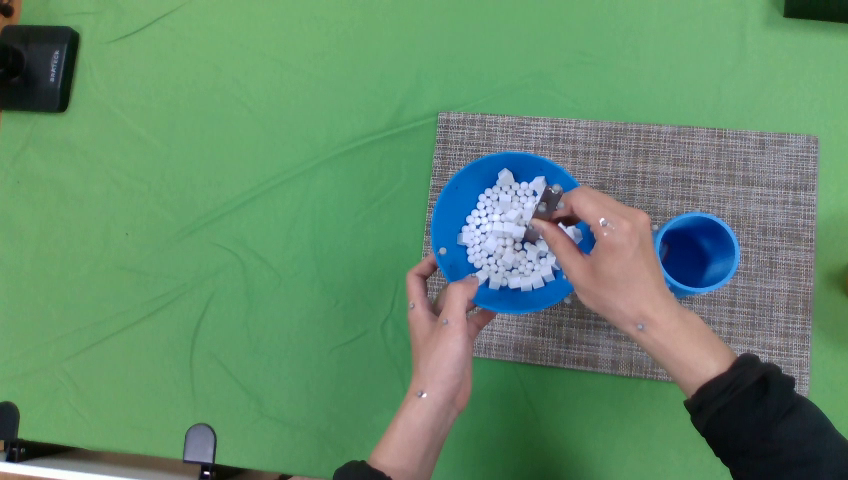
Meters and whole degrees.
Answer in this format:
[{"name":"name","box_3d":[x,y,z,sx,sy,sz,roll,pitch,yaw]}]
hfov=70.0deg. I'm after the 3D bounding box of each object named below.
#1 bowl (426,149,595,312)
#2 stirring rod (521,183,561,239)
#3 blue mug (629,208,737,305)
[{"name":"bowl","box_3d":[0.080,-0.004,0.579,0.151,0.077,0.151,0,81,1]},{"name":"stirring rod","box_3d":[0.096,-0.020,0.511,0.014,0.177,0.006,17,81,7]},{"name":"blue mug","box_3d":[0.267,0.027,0.658,0.082,0.106,0.116,44,90,11]}]
